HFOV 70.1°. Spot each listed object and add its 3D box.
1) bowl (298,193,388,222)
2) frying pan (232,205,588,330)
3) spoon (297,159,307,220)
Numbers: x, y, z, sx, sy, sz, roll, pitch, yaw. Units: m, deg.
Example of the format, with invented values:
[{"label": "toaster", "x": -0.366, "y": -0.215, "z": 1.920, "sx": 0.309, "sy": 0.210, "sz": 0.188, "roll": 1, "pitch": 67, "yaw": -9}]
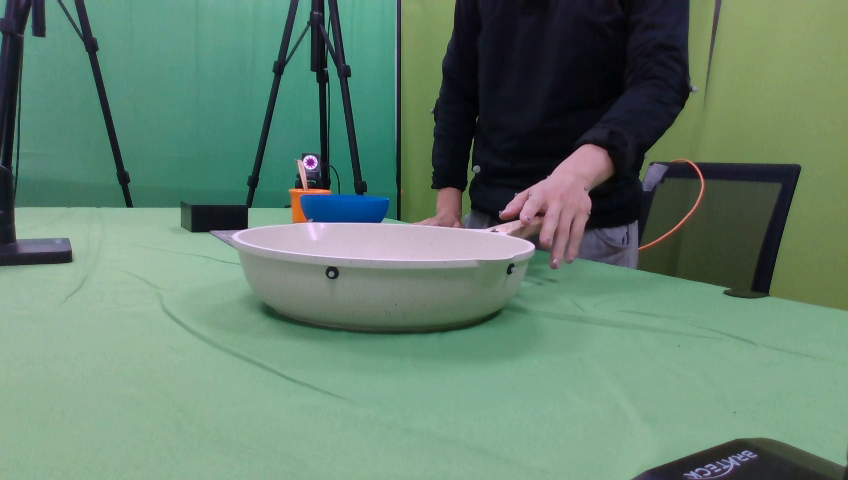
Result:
[{"label": "bowl", "x": -0.136, "y": -0.037, "z": 1.018, "sx": 0.151, "sy": 0.077, "sz": 0.151, "roll": 2, "pitch": 7, "yaw": 0}, {"label": "frying pan", "x": 0.039, "y": 0.005, "z": 0.670, "sx": 0.490, "sy": 0.102, "sz": 0.305, "roll": -15, "pitch": 17, "yaw": -40}, {"label": "spoon", "x": -0.264, "y": -0.114, "z": 1.338, "sx": 0.042, "sy": 0.193, "sz": 0.021, "roll": 0, "pitch": -37, "yaw": -21}]
